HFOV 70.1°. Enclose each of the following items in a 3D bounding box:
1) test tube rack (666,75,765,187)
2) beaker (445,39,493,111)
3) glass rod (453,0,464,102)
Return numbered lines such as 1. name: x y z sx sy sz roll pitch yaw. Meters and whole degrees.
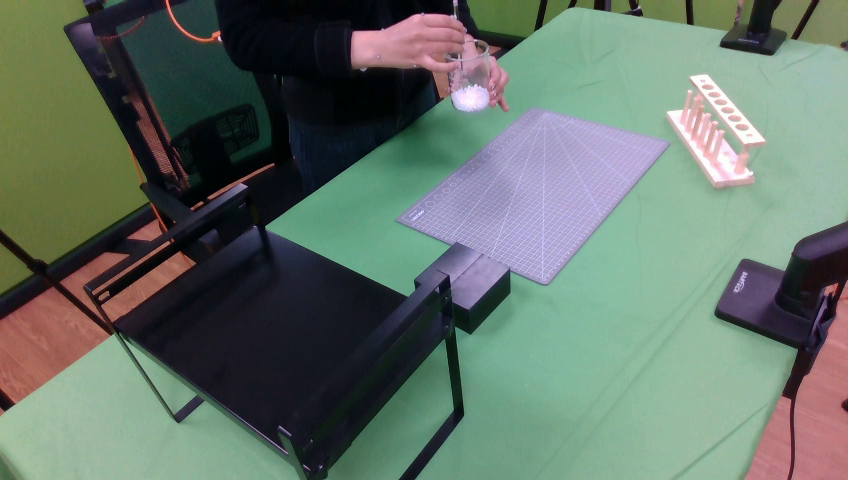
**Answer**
1. test tube rack: 0.512 -0.201 1.082 0.067 0.085 0.241 -5 41 2
2. beaker: 0.075 -0.275 1.015 0.083 0.101 0.074 28 54 37
3. glass rod: 0.056 -0.310 0.970 0.008 0.200 0.008 -4 42 4
